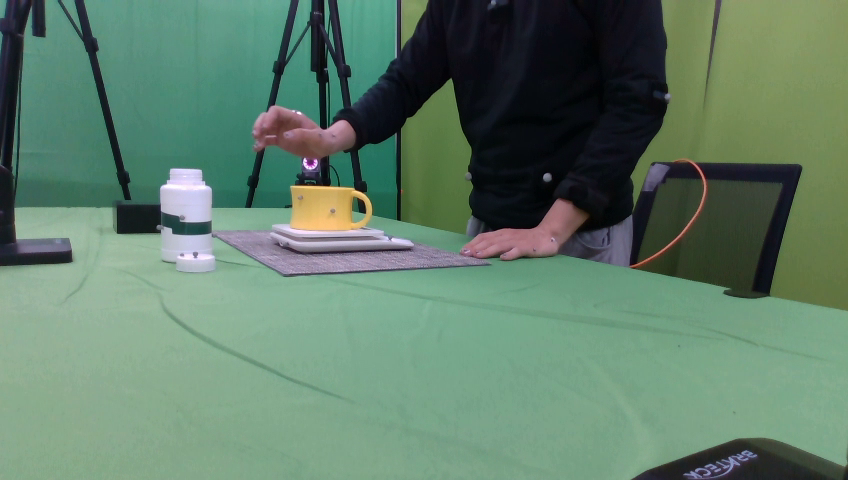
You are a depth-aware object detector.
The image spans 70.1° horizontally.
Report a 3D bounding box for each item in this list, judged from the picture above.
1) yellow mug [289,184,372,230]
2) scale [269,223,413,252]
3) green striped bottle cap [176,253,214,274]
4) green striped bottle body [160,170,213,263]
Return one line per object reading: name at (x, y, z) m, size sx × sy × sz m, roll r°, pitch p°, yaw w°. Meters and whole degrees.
yellow mug at (-0.145, -0.052, 0.944) m, size 0.131 × 0.064 × 0.100 m, roll 4°, pitch 7°, yaw 9°
scale at (-0.132, -0.007, 0.965) m, size 0.202 × 0.031 × 0.148 m, roll -2°, pitch 8°, yaw -31°
green striped bottle cap at (-0.279, 0.029, 0.741) m, size 0.044 × 0.020 × 0.044 m, roll 6°, pitch 4°, yaw 0°
green striped bottle body at (-0.312, -0.033, 0.797) m, size 0.063 × 0.119 × 0.063 m, roll 2°, pitch 7°, yaw 0°
